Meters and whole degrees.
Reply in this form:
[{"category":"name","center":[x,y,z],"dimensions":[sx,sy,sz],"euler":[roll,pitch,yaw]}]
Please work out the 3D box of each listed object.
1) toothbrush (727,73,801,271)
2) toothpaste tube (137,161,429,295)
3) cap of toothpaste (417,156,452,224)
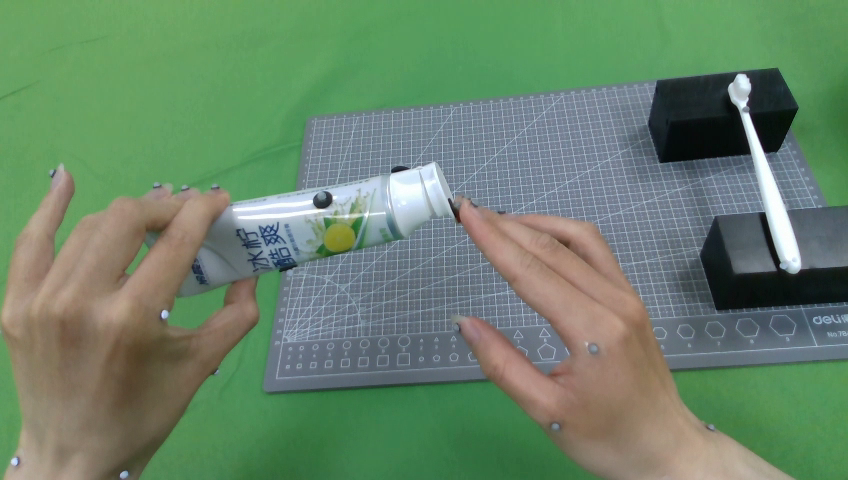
[{"category":"toothbrush","center":[0.249,-0.057,0.444],"dimensions":[0.014,0.017,0.180],"euler":[5,57,0]},{"category":"toothpaste tube","center":[-0.070,-0.009,0.324],"dimensions":[0.165,0.055,0.034],"euler":[-14,23,10]},{"category":"cap of toothpaste","center":[0.006,-0.025,0.311],"dimensions":[0.011,0.038,0.037],"euler":[-15,53,11]}]
